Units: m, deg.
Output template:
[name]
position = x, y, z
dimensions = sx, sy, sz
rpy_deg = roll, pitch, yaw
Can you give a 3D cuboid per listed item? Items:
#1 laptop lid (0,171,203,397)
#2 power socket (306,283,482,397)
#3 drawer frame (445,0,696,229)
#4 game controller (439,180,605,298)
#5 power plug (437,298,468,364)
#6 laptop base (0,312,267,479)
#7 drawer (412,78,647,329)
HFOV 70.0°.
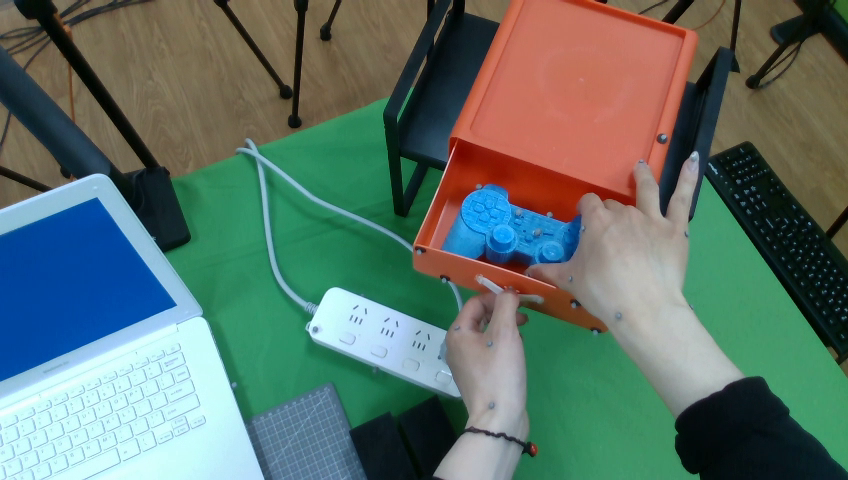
[laptop lid]
position = -0.454, 0.077, 0.650
dimensions = 0.357, 0.244, 0.013
rpy_deg = -25, 46, -9
[power socket]
position = -0.036, 0.121, 0.744
dimensions = 0.226, 0.033, 0.072
rpy_deg = 21, 70, 8
[drawer frame]
position = 0.151, -0.143, 0.630
dimensions = 0.201, 0.083, 0.212
rpy_deg = 19, 69, 7
[game controller]
position = 0.098, 0.001, 0.585
dimensions = 0.155, 0.052, 0.096
rpy_deg = 20, 67, 6
[power plug]
position = 0.043, 0.114, 0.723
dimensions = 0.035, 0.053, 0.072
rpy_deg = 30, 69, 10
[laptop base]
position = -0.382, 0.255, 0.695
dimensions = 0.354, 0.023, 0.234
rpy_deg = -24, 73, -10
[drawer]
position = 0.113, -0.043, 0.591
dimensions = 0.194, 0.074, 0.210
rpy_deg = 19, 68, 6
